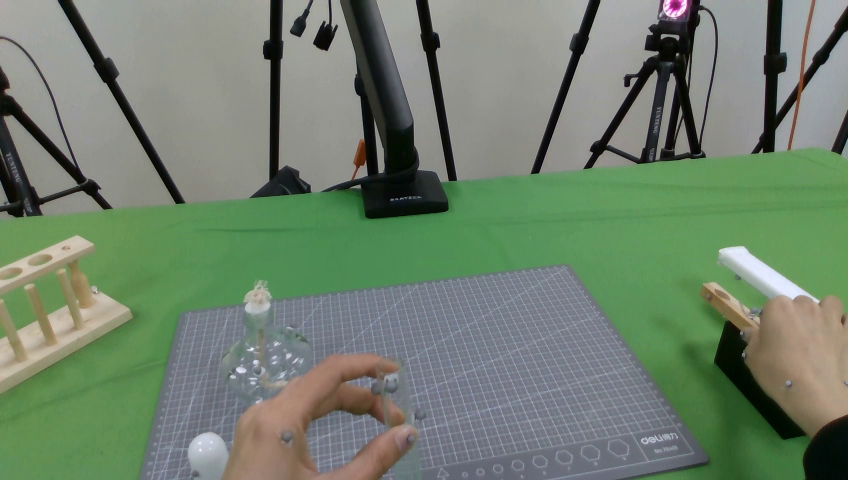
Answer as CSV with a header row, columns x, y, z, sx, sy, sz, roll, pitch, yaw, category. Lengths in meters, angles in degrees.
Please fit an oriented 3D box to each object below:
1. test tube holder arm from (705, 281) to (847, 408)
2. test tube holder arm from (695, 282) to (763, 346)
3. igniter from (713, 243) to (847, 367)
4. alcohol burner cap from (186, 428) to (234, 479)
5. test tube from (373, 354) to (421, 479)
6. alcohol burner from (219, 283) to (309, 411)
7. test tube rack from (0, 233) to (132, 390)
x,y,z,sx,sy,sz,roll,pitch,yaw,category
0.303,0.086,0.525,0.013,0.015,0.176,-16,31,-11,test tube holder arm
0.284,0.067,0.562,0.010,0.015,0.087,-16,31,-10,test tube holder arm
0.356,0.073,0.542,0.057,0.025,0.273,-7,28,-9,igniter
-0.168,0.168,0.470,0.034,0.048,0.033,0,31,1,alcohol burner cap
-0.011,0.129,0.346,0.017,0.151,0.017,-6,27,3,test tube
-0.141,0.089,0.529,0.078,0.120,0.077,0,30,1,alcohol burner
-0.414,0.089,0.569,0.066,0.086,0.242,20,37,30,test tube rack
